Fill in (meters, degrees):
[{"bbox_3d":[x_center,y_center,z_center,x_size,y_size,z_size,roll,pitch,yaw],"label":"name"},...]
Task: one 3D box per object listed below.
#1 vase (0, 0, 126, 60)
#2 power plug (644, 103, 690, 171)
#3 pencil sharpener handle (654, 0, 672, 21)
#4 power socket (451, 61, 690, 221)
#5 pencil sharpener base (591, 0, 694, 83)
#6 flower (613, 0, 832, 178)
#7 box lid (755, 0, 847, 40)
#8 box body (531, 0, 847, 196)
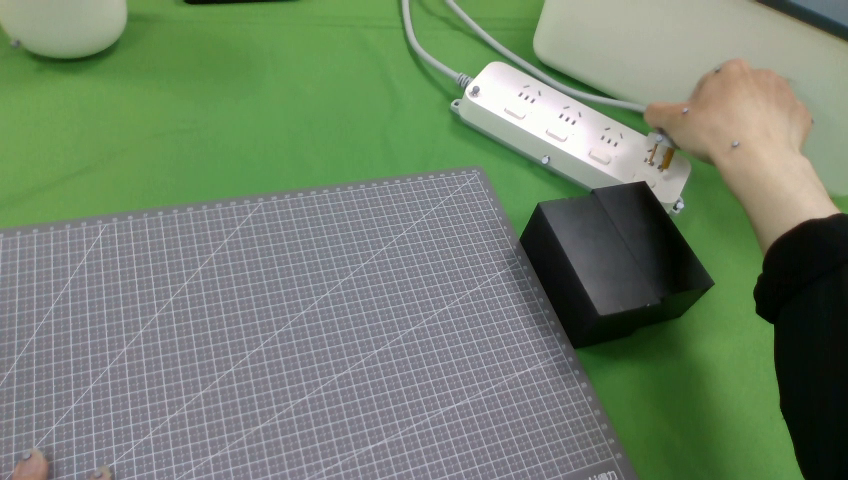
[{"bbox_3d":[-0.293,-0.238,0.456,0.098,0.201,0.097,7,52,-8],"label":"vase"},{"bbox_3d":[0.210,-0.090,0.532,0.035,0.053,0.072,18,19,6],"label":"power plug"},{"bbox_3d":[0.259,-0.264,0.630,0.036,0.068,0.030,29,53,17],"label":"pencil sharpener handle"},{"bbox_3d":[0.134,-0.092,0.549,0.226,0.033,0.072,31,53,11],"label":"power socket"},{"bbox_3d":[0.227,-0.227,0.611,0.061,0.108,0.076,34,54,12],"label":"pencil sharpener base"},{"bbox_3d":[0.309,-0.200,0.673,0.044,0.038,0.359,-37,74,-6],"label":"flower"},{"bbox_3d":[0.332,-0.274,0.551,0.370,0.015,0.262,28,54,8],"label":"box lid"},{"bbox_3d":[0.318,-0.232,0.610,0.363,0.161,0.253,28,54,8],"label":"box body"}]
